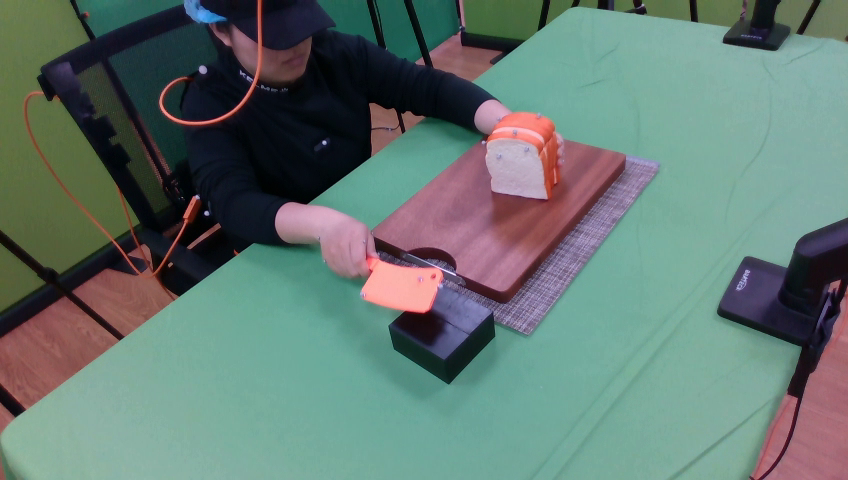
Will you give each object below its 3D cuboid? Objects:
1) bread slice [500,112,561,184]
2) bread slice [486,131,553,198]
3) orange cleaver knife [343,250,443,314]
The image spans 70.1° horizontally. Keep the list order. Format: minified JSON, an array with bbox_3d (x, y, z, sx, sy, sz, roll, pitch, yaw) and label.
[{"bbox_3d":[0.175,-0.151,1.005,0.106,0.135,0.018,13,50,21],"label":"bread slice"},{"bbox_3d":[0.149,-0.120,0.974,0.104,0.132,0.019,9,53,25],"label":"bread slice"},{"bbox_3d":[-0.056,0.056,0.848,0.209,0.012,0.077,14,61,44],"label":"orange cleaver knife"}]
